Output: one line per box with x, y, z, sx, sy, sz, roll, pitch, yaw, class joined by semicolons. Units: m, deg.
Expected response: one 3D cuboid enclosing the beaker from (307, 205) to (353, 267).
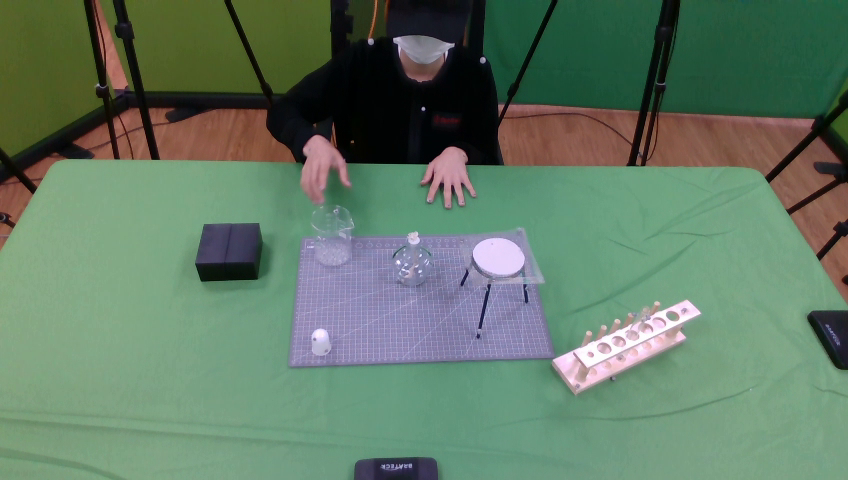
-0.172;-0.004;1.132;0.084;0.101;0.073;15;47;8;beaker

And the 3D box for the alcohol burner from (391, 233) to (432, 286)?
-0.022;0.028;1.102;0.078;0.119;0.077;2;48;-2;alcohol burner

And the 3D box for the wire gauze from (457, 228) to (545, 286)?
0.126;0.029;1.006;0.125;0.011;0.120;-4;46;-10;wire gauze

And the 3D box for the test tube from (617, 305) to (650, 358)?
0.333;0.149;0.967;0.017;0.151;0.017;0;52;1;test tube

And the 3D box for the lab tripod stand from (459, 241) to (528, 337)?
0.122;0.075;1.054;0.148;0.132;0.147;3;44;-3;lab tripod stand

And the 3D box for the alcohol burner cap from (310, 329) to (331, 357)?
-0.173;0.168;1.004;0.034;0.048;0.033;2;46;-2;alcohol burner cap

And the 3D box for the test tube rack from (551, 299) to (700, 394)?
0.339;0.166;1.021;0.242;0.085;0.066;-19;50;-21;test tube rack
